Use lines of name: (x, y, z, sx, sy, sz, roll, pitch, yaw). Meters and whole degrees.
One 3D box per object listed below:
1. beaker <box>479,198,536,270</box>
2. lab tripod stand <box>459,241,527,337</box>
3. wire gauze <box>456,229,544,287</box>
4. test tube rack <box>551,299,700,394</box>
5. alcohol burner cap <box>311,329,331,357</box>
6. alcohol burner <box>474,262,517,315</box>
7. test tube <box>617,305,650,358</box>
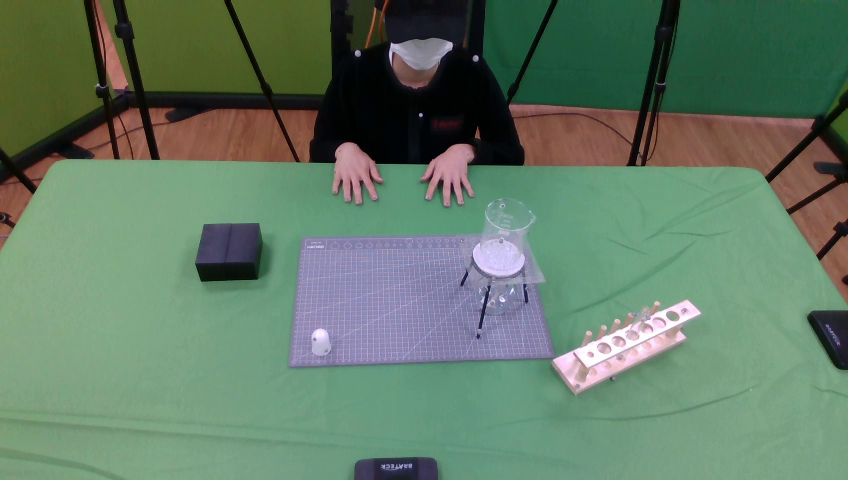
beaker: (0.131, -0.007, 0.975, 0.084, 0.101, 0.073, 2, 46, -3)
lab tripod stand: (0.122, 0.075, 1.054, 0.148, 0.132, 0.147, 3, 44, -3)
wire gauze: (0.125, 0.030, 1.008, 0.125, 0.011, 0.120, -3, 48, -11)
test tube rack: (0.339, 0.166, 1.021, 0.242, 0.085, 0.066, -19, 50, -21)
alcohol burner cap: (-0.173, 0.168, 1.005, 0.034, 0.048, 0.033, 2, 46, -2)
alcohol burner: (0.128, 0.078, 1.066, 0.078, 0.119, 0.077, 2, 48, -2)
test tube: (0.333, 0.149, 0.967, 0.017, 0.151, 0.017, 0, 52, 1)
